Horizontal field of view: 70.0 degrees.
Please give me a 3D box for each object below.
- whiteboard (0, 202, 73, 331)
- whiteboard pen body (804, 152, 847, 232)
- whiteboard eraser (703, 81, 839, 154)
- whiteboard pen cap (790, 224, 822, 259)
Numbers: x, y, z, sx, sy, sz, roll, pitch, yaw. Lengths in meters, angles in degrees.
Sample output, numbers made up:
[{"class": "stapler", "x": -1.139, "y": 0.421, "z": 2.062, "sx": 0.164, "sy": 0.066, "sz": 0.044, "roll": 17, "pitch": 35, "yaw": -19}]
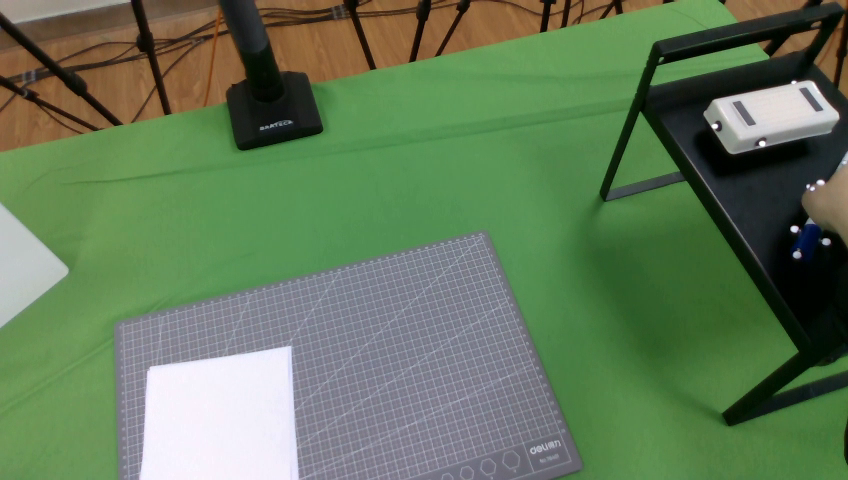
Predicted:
[{"class": "whiteboard", "x": -0.583, "y": -0.016, "z": 0.627, "sx": 0.142, "sy": 0.309, "sz": 0.217, "roll": 25, "pitch": 60, "yaw": 38}, {"class": "whiteboard pen body", "x": 0.371, "y": -0.038, "z": 0.552, "sx": 0.017, "sy": 0.017, "sz": 0.140, "roll": 34, "pitch": 64, "yaw": 21}, {"class": "whiteboard eraser", "x": 0.333, "y": -0.116, "z": 0.586, "sx": 0.113, "sy": 0.042, "sz": 0.055, "roll": -13, "pitch": 57, "yaw": -7}, {"class": "whiteboard pen cap", "x": 0.333, "y": 0.000, "z": 0.528, "sx": 0.018, "sy": 0.018, "sz": 0.033, "roll": 34, "pitch": 65, "yaw": 20}]
